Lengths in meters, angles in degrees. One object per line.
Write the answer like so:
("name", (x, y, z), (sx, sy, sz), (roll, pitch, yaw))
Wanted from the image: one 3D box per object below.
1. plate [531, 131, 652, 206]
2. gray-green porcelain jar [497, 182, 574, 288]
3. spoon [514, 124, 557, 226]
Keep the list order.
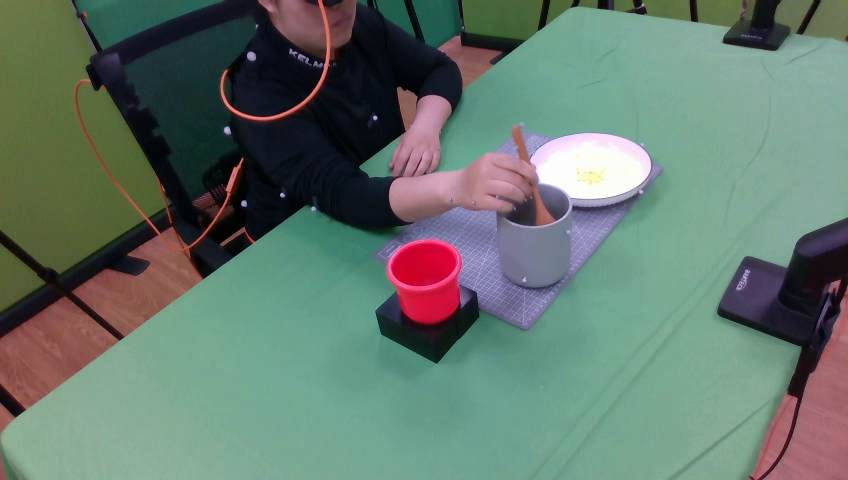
("plate", (0.287, -0.122, 1.056), (0.207, 0.039, 0.206), (-5, 40, 5))
("gray-green porcelain jar", (0.160, -0.003, 0.870), (0.106, 0.127, 0.105), (-5, 40, 5))
("spoon", (0.151, -0.066, 0.812), (0.041, 0.194, 0.021), (-16, 22, 16))
